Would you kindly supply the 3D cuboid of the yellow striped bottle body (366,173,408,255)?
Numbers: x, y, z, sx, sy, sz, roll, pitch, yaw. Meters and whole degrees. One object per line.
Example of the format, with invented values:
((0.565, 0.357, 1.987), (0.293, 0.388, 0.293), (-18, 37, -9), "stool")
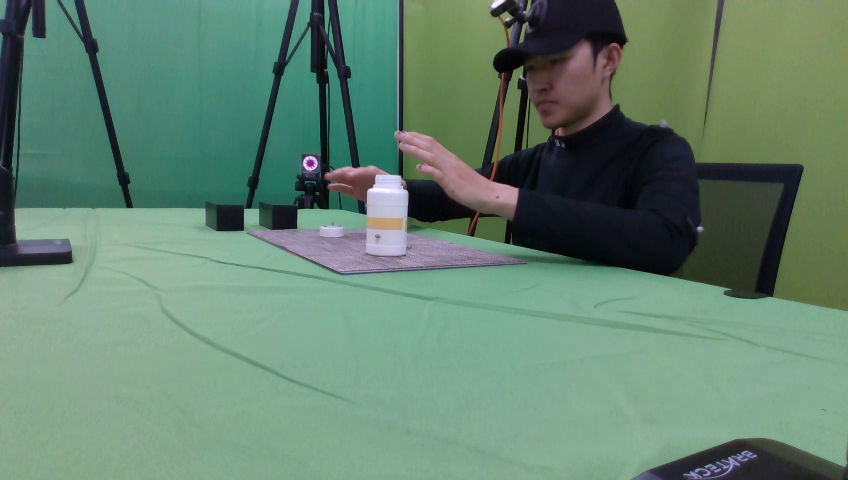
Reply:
((-0.056, -0.040, 0.905), (0.063, 0.120, 0.063), (2, 7, 0), "yellow striped bottle body")

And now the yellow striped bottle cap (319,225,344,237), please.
((-0.170, -0.017, 1.107), (0.044, 0.018, 0.044), (0, 6, 0), "yellow striped bottle cap")
